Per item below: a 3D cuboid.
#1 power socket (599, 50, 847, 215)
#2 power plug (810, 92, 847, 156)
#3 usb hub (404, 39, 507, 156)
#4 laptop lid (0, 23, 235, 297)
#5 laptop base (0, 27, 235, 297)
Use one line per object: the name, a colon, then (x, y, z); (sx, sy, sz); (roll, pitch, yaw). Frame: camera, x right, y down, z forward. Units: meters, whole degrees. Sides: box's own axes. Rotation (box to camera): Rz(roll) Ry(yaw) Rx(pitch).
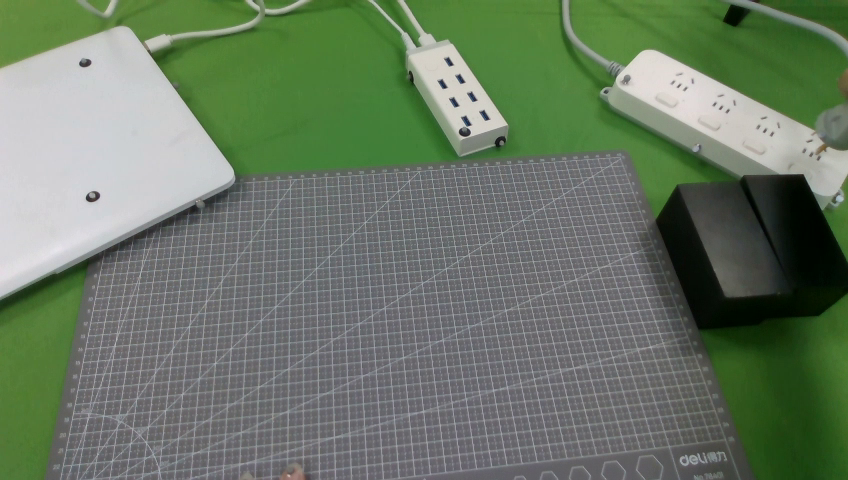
power socket: (0.271, -0.102, 0.547); (0.225, 0.033, 0.072); (35, 62, 19)
power plug: (0.340, -0.101, 0.488); (0.035, 0.053, 0.072); (36, 66, 7)
usb hub: (0.026, -0.135, 0.563); (0.049, 0.025, 0.124); (-20, 60, -14)
laptop lid: (-0.360, -0.046, 0.478); (0.357, 0.013, 0.239); (-30, 65, -20)
laptop base: (-0.362, -0.041, 0.489); (0.354, 0.023, 0.233); (-31, 66, -20)
